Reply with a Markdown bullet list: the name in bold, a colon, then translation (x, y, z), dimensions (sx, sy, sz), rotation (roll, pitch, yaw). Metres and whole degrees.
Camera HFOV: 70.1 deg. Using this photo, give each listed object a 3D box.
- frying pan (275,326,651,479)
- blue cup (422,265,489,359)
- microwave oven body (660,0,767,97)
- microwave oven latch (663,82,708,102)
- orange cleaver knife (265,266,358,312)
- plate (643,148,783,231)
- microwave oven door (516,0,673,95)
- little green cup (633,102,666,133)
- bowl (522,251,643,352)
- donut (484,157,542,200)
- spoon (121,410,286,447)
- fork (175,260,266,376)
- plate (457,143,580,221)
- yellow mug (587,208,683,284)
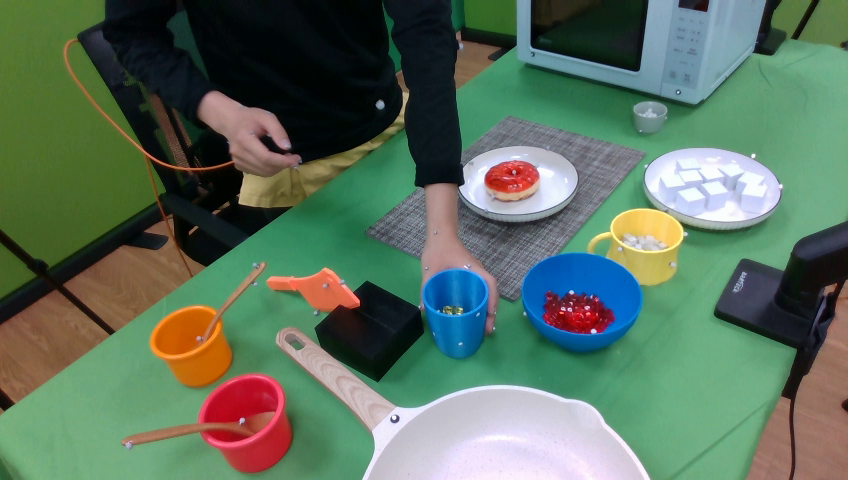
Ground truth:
- **frying pan**: translation (0.004, 0.229, 0.641), dimensions (0.484, 0.103, 0.308), rotation (34, 54, 28)
- **blue cup**: translation (0.044, 0.101, 0.787), dimensions (0.092, 0.100, 0.092), rotation (-4, 41, 4)
- **microwave oven body**: translation (0.473, -0.516, 1.313), dimensions (0.438, 0.261, 0.327), rotation (26, 51, 34)
- **microwave oven latch**: translation (0.518, -0.299, 1.202), dimensions (0.078, 0.029, 0.030), rotation (30, 53, 36)
- **orange cleaver knife**: translation (-0.164, 0.073, 0.864), dimensions (0.210, 0.077, 0.012), rotation (-6, 30, 50)
- **plate**: translation (0.464, -0.079, 0.985), dimensions (0.207, 0.039, 0.206), rotation (-4, 40, 4)
- **microwave oven door**: translation (0.344, -0.458, 1.255), dimensions (0.353, 0.245, 0.039), rotation (26, 51, 33)
- **little green cup**: translation (0.434, -0.237, 1.171), dimensions (0.061, 0.039, 0.061), rotation (-5, 40, 5)
- **bowl**: translation (0.204, 0.093, 0.791), dimensions (0.151, 0.077, 0.150), rotation (-4, 40, 4)
- **donut**: translation (0.153, -0.108, 1.038), dimensions (0.099, 0.048, 0.098), rotation (-6, 37, 5)
- **spoon**: translation (-0.236, 0.208, 0.669), dimensions (0.041, 0.021, 0.195), rotation (36, 13, 38)
- **fork**: translation (-0.268, 0.103, 0.792), dimensions (0.207, 0.019, 0.028), rotation (-51, 40, 16)
- **plate**: translation (0.161, -0.097, 1.042), dimensions (0.209, 0.038, 0.208), rotation (-4, 40, 4)
- **yellow mug**: translation (0.305, 0.009, 0.884), dimensions (0.131, 0.064, 0.099), rotation (-4, 40, 5)
